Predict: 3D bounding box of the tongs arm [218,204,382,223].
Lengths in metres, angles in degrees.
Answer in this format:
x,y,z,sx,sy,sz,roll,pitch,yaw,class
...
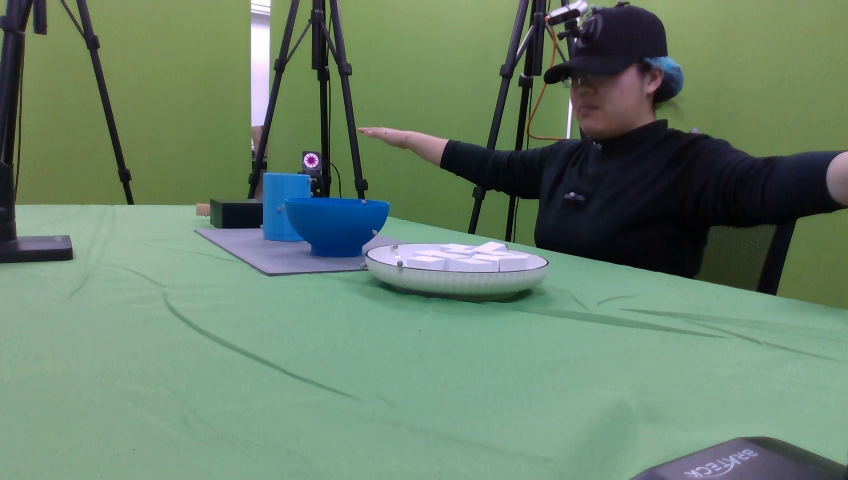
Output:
x,y,z,sx,sy,sz,roll,pitch,yaw,class
-0.285,-0.061,1.382,0.387,0.027,0.028,3,-2,6,tongs arm

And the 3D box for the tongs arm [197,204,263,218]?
x,y,z,sx,sy,sz,roll,pitch,yaw,class
-0.282,-0.057,1.301,0.386,0.026,0.050,2,1,-7,tongs arm

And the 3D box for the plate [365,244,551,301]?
x,y,z,sx,sy,sz,roll,pitch,yaw,class
0.038,0.035,0.685,0.209,0.038,0.209,2,7,0,plate

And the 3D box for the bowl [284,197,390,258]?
x,y,z,sx,sy,sz,roll,pitch,yaw,class
-0.125,-0.019,0.870,0.151,0.077,0.151,2,7,0,bowl

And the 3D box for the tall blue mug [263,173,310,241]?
x,y,z,sx,sy,sz,roll,pitch,yaw,class
-0.233,-0.058,1.019,0.078,0.108,0.107,-1,8,-19,tall blue mug
